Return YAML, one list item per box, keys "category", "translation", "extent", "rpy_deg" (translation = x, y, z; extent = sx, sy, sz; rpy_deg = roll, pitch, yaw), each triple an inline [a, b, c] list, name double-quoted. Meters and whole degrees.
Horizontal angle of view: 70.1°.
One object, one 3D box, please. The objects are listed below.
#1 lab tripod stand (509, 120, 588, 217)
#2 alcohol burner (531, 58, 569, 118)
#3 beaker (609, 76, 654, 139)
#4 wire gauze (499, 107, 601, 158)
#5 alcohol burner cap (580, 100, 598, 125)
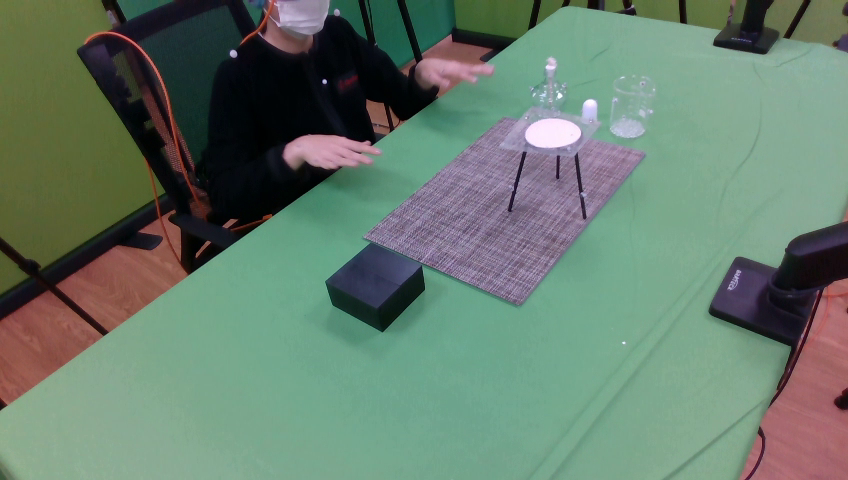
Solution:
- category: "lab tripod stand"
  translation: [0.207, -0.114, 0.983]
  extent: [0.148, 0.132, 0.147]
  rpy_deg: [-5, 42, 5]
- category: "alcohol burner"
  translation: [0.255, -0.311, 1.227]
  extent: [0.078, 0.119, 0.077]
  rpy_deg: [-6, 41, 6]
- category: "beaker"
  translation: [0.393, -0.248, 1.144]
  extent: [0.074, 0.101, 0.083]
  rpy_deg: [-32, 47, -24]
- category: "wire gauze"
  translation: [0.198, -0.168, 0.943]
  extent: [0.120, 0.011, 0.125]
  rpy_deg: [17, 47, 27]
- category: "alcohol burner cap"
  translation: [0.331, -0.258, 1.210]
  extent: [0.034, 0.048, 0.033]
  rpy_deg: [-5, 41, 4]
